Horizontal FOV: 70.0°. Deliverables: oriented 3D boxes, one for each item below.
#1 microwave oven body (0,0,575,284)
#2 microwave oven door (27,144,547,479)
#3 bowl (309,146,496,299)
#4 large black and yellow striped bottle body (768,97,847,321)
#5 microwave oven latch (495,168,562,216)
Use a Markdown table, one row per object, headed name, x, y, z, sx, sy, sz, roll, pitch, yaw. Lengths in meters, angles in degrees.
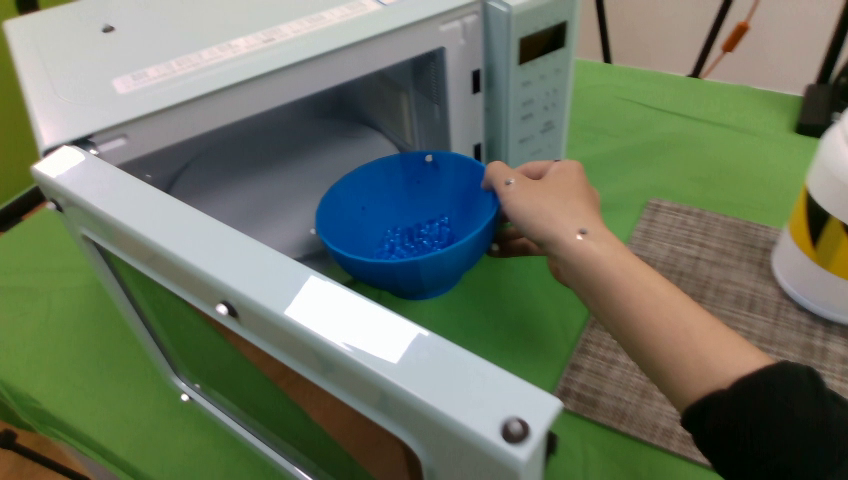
| name | x | y | z | sx | sy | sz | roll | pitch | yaw |
| --- | --- | --- | --- | --- | --- | --- | --- | --- | --- |
| microwave oven body | -0.123 | -0.131 | 0.629 | 0.442 | 0.263 | 0.322 | -28 | 47 | -20 |
| microwave oven door | -0.087 | 0.091 | 0.378 | 0.353 | 0.246 | 0.039 | 23 | 51 | 28 |
| bowl | -0.013 | -0.004 | 0.505 | 0.151 | 0.077 | 0.150 | -4 | 42 | 4 |
| large black and yellow striped bottle body | 0.389 | -0.033 | 0.516 | 0.131 | 0.186 | 0.129 | -3 | 43 | 3 |
| microwave oven latch | 0.114 | -0.057 | 0.664 | 0.079 | 0.030 | 0.030 | -26 | 47 | -19 |
